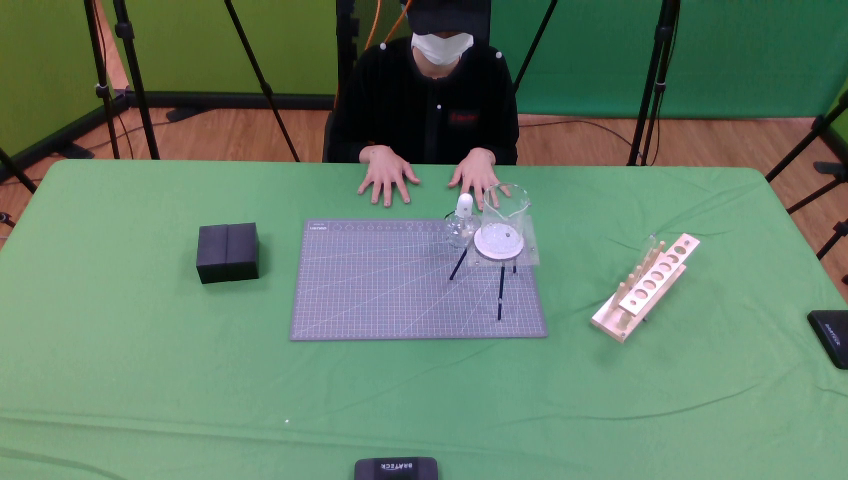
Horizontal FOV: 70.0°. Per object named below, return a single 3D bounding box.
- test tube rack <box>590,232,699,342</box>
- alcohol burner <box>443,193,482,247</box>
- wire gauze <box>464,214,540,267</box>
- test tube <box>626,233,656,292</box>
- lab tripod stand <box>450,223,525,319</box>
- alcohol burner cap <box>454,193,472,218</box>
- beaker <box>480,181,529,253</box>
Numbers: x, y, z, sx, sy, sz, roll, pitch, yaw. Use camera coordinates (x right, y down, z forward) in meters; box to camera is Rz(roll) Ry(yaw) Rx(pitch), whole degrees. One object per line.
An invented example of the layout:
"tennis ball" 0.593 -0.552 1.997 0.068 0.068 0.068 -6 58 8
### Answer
"test tube rack" 0.407 0.074 1.112 0.066 0.085 0.242 35 53 26
"alcohol burner" 0.075 -0.044 1.177 0.078 0.120 0.077 1 44 -1
"wire gauze" 0.131 -0.001 1.035 0.121 0.011 0.124 1 44 -2
"test tube" 0.384 0.042 1.079 0.017 0.151 0.017 1 47 -1
"lab tripod stand" 0.120 0.046 1.080 0.148 0.132 0.147 1 47 -1
"alcohol burner cap" 0.076 -0.068 1.151 0.034 0.048 0.033 4 46 -3
"beaker" 0.130 -0.033 0.998 0.074 0.101 0.083 5 47 4
